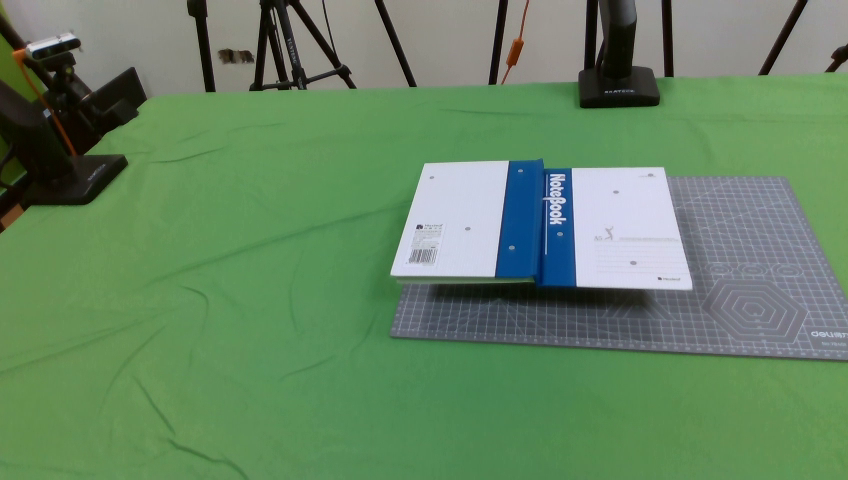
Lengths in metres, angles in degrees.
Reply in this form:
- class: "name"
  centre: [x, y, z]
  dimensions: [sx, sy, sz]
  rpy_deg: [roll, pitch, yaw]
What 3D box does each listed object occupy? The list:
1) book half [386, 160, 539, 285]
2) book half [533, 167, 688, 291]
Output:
- class: "book half"
  centre: [0.051, -0.026, 0.673]
  dimensions: [0.148, 0.016, 0.208]
  rpy_deg: [0, 40, 12]
- class: "book half"
  centre: [0.192, -0.020, 0.651]
  dimensions: [0.143, 0.007, 0.208]
  rpy_deg: [1, 39, 11]
